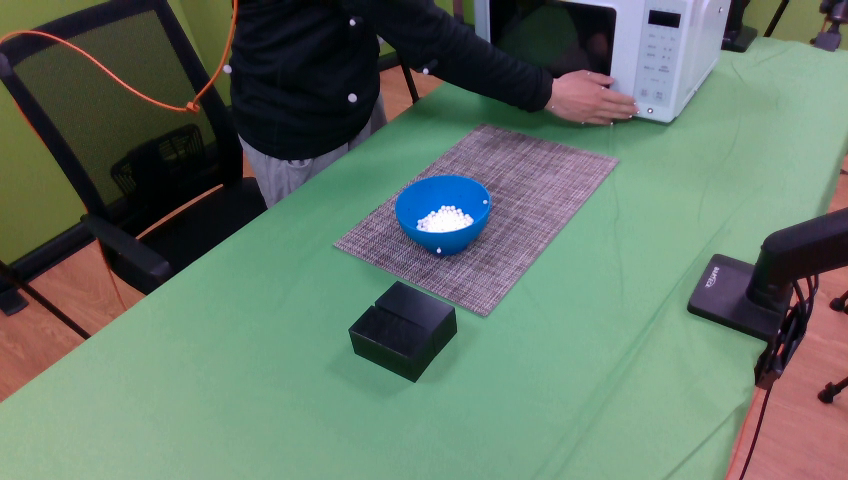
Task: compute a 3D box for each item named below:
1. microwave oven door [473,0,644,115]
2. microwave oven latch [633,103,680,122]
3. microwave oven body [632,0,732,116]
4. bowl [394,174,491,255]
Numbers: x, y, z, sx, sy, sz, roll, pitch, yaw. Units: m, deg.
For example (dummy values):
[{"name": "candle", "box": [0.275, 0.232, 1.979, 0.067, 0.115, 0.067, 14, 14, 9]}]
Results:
[{"name": "microwave oven door", "box": [0.257, -0.396, 1.199, 0.353, 0.245, 0.039, 21, 48, 29]}, {"name": "microwave oven latch", "box": [0.443, -0.249, 1.157, 0.078, 0.029, 0.030, 21, 49, 30]}, {"name": "microwave oven body", "box": [0.377, -0.462, 1.267, 0.438, 0.261, 0.327, 21, 48, 30]}, {"name": "bowl", "box": [0.032, -0.030, 0.949, 0.151, 0.077, 0.150, -4, 40, 4]}]
